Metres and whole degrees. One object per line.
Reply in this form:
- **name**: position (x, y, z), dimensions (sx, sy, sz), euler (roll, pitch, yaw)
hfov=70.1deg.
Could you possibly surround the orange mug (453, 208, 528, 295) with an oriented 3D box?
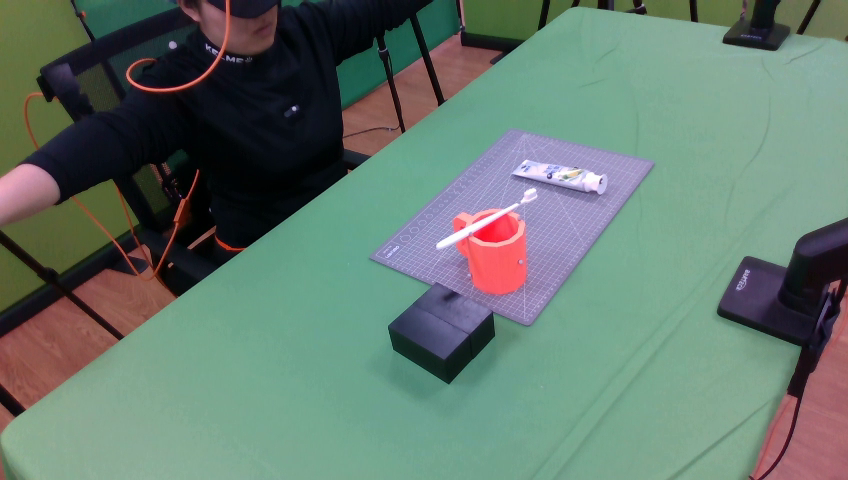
- **orange mug**: position (0.094, 0.009, 0.894), dimensions (0.125, 0.101, 0.084), euler (32, 55, 33)

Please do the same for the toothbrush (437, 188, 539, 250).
- **toothbrush**: position (0.093, -0.031, 0.859), dimensions (0.182, 0.017, 0.014), euler (-28, 51, -21)

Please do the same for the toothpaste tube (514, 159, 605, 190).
- **toothpaste tube**: position (0.242, -0.117, 1.069), dimensions (0.164, 0.034, 0.055), euler (17, 43, 35)

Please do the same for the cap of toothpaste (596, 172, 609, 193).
- **cap of toothpaste**: position (0.301, -0.098, 1.022), dimensions (0.011, 0.037, 0.037), euler (19, 48, 39)
